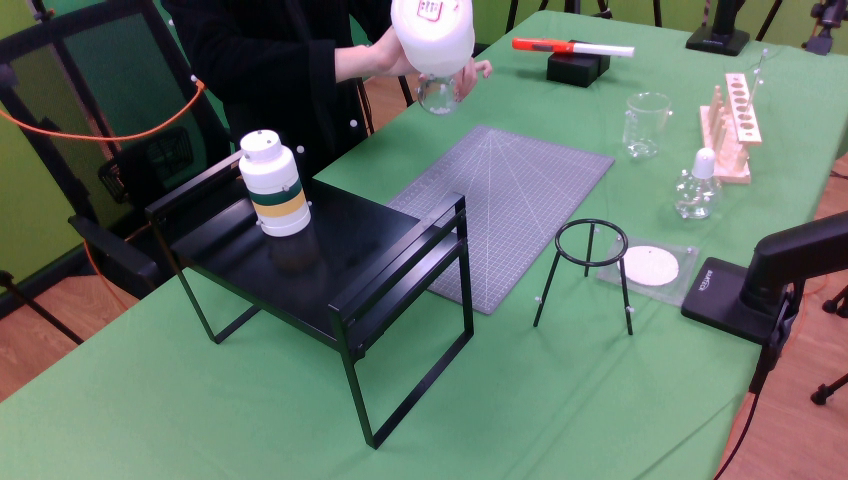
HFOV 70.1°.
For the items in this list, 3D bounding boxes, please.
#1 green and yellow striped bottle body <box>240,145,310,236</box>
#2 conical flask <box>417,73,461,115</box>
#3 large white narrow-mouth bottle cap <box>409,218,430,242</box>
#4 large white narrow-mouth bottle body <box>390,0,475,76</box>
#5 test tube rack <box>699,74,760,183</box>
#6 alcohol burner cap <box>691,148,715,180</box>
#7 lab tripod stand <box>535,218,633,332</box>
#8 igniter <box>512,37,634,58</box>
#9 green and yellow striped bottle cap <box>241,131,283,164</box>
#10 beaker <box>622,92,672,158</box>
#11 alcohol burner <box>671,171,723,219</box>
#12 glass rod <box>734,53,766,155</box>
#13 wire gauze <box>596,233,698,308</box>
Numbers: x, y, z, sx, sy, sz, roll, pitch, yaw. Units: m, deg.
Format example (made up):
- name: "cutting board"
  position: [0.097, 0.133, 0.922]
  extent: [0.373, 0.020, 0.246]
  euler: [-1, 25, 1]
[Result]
- name: "green and yellow striped bottle body"
  position: [-0.181, -0.069, 0.729]
  extent: [0.063, 0.120, 0.063]
  euler: [-4, 40, 4]
- name: "conical flask"
  position: [0.028, -0.264, 0.991]
  extent: [0.075, 0.122, 0.075]
  euler: [1, 76, -3]
- name: "large white narrow-mouth bottle cap"
  position: [-0.008, -0.017, 0.999]
  extent: [0.038, 0.024, 0.037]
  euler: [-3, 39, 3]
- name: "large white narrow-mouth bottle body"
  position: [0.019, -0.283, 0.837]
  extent: [0.101, 0.101, 0.195]
  euler: [0, -3, 8]
- name: "test tube rack"
  position: [0.547, -0.208, 1.095]
  extent: [0.066, 0.085, 0.242]
  euler: [6, 42, 16]
- name: "alcohol burner cap"
  position: [0.432, -0.120, 0.930]
  extent: [0.034, 0.048, 0.033]
  euler: [-7, 48, 8]
- name: "lab tripod stand"
  position: [0.215, 0.050, 0.803]
  extent: [0.148, 0.132, 0.147]
  euler: [-4, 42, 4]
- name: "igniter"
  position: [0.328, -0.433, 1.360]
  extent: [0.275, 0.025, 0.057]
  euler: [12, 33, 20]
- name: "green and yellow striped bottle cap"
  position: [-0.187, -0.107, 0.695]
  extent: [0.045, 0.020, 0.045]
  euler: [-3, 39, 3]
- name: "beaker"
  position: [0.402, -0.210, 1.106]
  extent: [0.074, 0.101, 0.083]
  euler: [-8, 40, -2]
- name: "alcohol burner"
  position: [0.434, -0.093, 0.955]
  extent: [0.078, 0.119, 0.077]
  euler: [-3, 43, 3]
- name: "glass rod"
  position: [0.540, -0.219, 1.006]
  extent: [0.008, 0.201, 0.008]
  euler: [-5, 45, 6]
- name: "wire gauze"
  position: [0.331, 0.038, 0.897]
  extent: [0.124, 0.011, 0.121]
  euler: [18, 47, 26]
